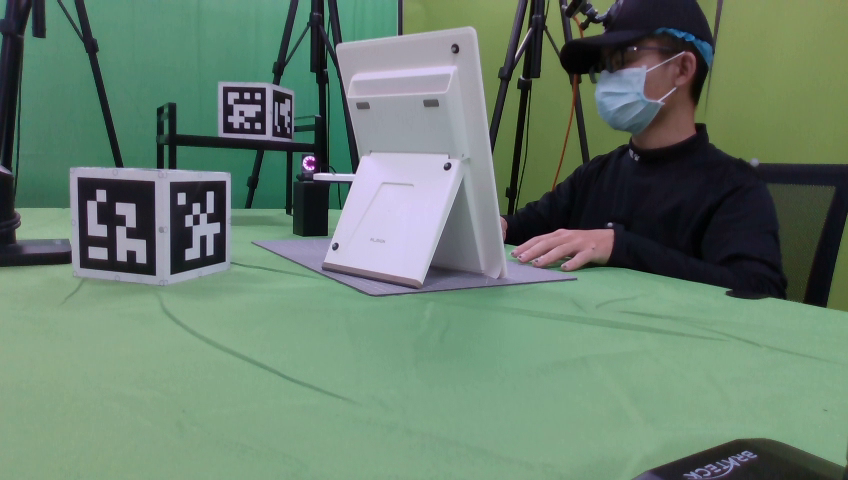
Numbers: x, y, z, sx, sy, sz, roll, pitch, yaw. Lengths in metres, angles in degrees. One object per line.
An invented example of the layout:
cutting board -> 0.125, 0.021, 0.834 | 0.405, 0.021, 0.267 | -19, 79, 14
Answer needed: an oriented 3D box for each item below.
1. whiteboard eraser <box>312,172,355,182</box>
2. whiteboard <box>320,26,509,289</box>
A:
whiteboard eraser -> -0.165, -0.121, 1.155 | 0.102, 0.019, 0.041 | -2, 7, -34
whiteboard -> -0.045, -0.076, 0.721 | 0.216, 0.305, 0.144 | 9, 29, 39
